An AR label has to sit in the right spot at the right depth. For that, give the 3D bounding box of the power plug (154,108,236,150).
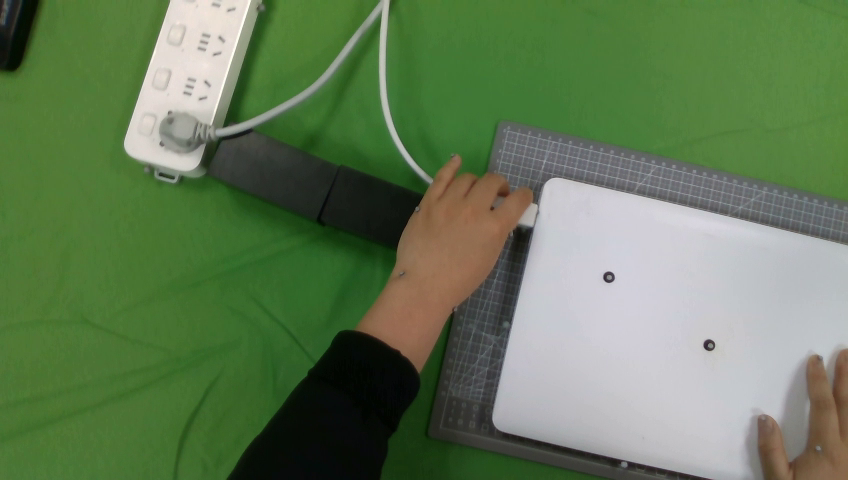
[{"bbox_3d":[-0.199,-0.088,0.525,0.072,0.052,0.035,29,83,-1],"label":"power plug"}]

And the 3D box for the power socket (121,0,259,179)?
[{"bbox_3d":[-0.208,-0.167,0.551,0.072,0.032,0.226,16,85,-2],"label":"power socket"}]

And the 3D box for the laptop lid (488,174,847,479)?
[{"bbox_3d":[0.251,0.091,0.546,0.357,0.013,0.241,15,89,-1],"label":"laptop lid"}]

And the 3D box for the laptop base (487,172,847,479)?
[{"bbox_3d":[0.251,0.089,0.557,0.354,0.023,0.235,13,90,-2],"label":"laptop base"}]

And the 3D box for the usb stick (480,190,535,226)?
[{"bbox_3d":[0.082,-0.027,0.545,0.059,0.027,0.021,14,83,-6],"label":"usb stick"}]
